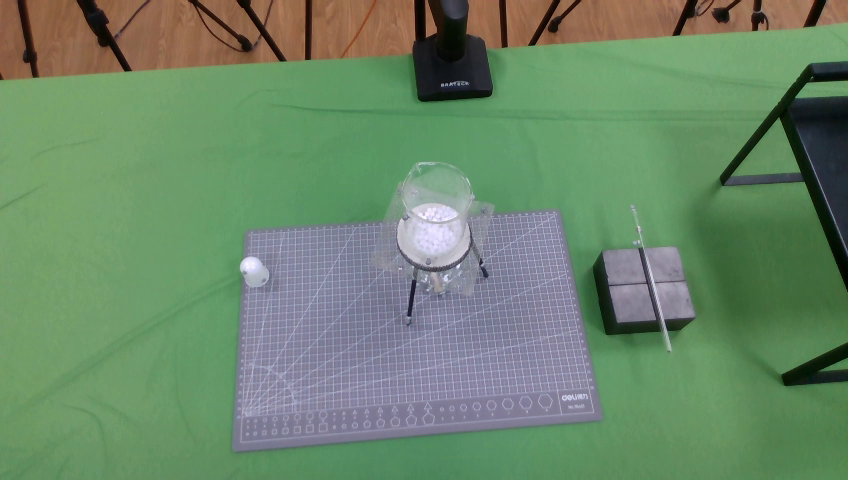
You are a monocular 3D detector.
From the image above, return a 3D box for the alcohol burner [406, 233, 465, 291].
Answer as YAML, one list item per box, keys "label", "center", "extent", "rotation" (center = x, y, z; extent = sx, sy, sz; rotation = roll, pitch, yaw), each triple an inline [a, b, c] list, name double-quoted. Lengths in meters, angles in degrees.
- label: "alcohol burner"
  center: [0.016, 0.020, 0.775]
  extent: [0.078, 0.120, 0.077]
  rotation: [1, 64, -2]

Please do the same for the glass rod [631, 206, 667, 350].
- label: "glass rod"
  center: [0.288, 0.045, 0.777]
  extent: [0.008, 0.008, 0.198]
  rotation: [-2, 65, -2]

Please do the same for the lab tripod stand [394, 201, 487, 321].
- label: "lab tripod stand"
  center: [0.014, 0.019, 0.765]
  extent: [0.148, 0.132, 0.147]
  rotation: [1, 63, -1]

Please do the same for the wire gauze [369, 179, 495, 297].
- label: "wire gauze"
  center: [0.011, -0.008, 0.705]
  extent: [0.125, 0.011, 0.121]
  rotation: [17, 67, 4]

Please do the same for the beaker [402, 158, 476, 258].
- label: "beaker"
  center: [0.012, -0.032, 0.662]
  extent: [0.074, 0.101, 0.083]
  rotation: [-26, 67, -14]

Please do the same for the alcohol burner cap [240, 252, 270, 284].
- label: "alcohol burner cap"
  center: [-0.225, 0.035, 0.803]
  extent: [0.034, 0.048, 0.033]
  rotation: [0, 64, 1]
